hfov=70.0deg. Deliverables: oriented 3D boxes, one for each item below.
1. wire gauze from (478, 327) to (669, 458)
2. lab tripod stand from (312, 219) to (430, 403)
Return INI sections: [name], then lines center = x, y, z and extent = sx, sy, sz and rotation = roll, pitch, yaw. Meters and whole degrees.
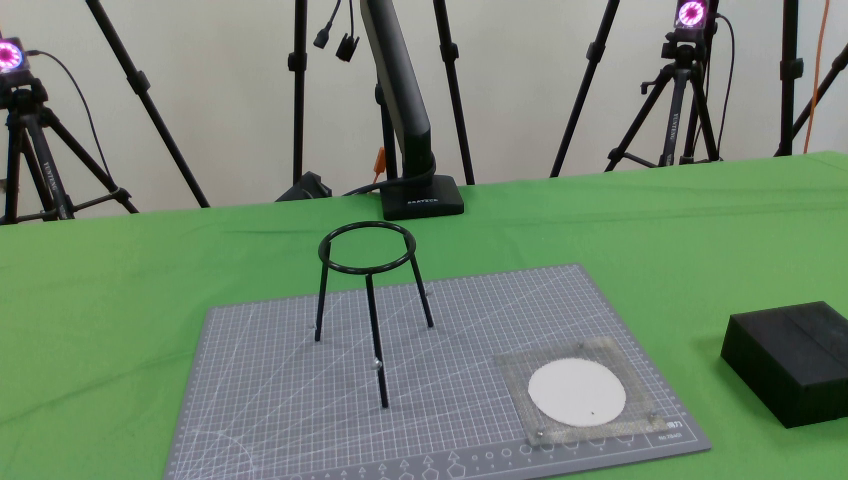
[wire gauze]
center = 0.131, 0.128, 0.546
extent = 0.122, 0.011, 0.123
rotation = -14, 38, -24
[lab tripod stand]
center = -0.050, 0.059, 0.581
extent = 0.148, 0.132, 0.147
rotation = 0, 31, 0
